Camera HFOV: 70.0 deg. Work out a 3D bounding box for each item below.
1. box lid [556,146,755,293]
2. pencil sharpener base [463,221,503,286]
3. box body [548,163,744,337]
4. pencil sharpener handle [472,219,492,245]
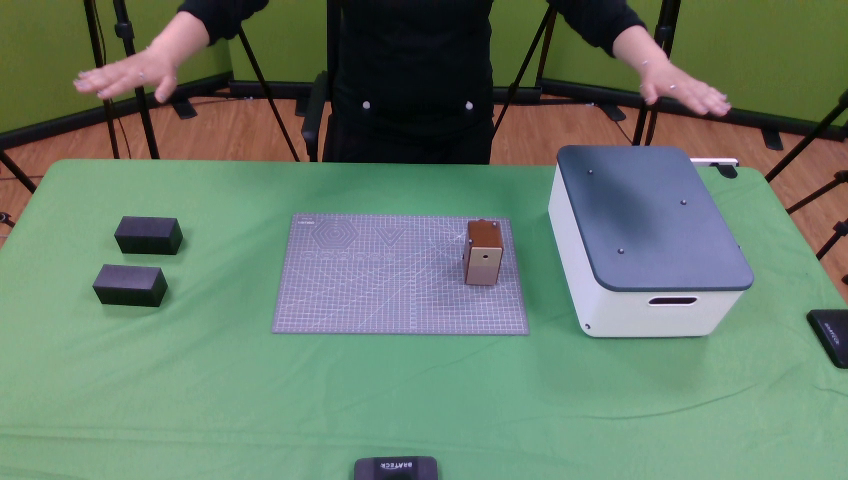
[{"bbox_3d":[0.394,-0.051,1.075,0.263,0.015,0.369,0,46,-4],"label":"box lid"},{"bbox_3d":[0.107,0.024,1.119,0.061,0.107,0.076,1,45,-2],"label":"pencil sharpener base"},{"bbox_3d":[0.391,-0.001,1.130,0.254,0.161,0.361,-1,46,-4],"label":"box body"},{"bbox_3d":[0.105,-0.021,1.146,0.036,0.068,0.030,7,44,-8],"label":"pencil sharpener handle"}]
